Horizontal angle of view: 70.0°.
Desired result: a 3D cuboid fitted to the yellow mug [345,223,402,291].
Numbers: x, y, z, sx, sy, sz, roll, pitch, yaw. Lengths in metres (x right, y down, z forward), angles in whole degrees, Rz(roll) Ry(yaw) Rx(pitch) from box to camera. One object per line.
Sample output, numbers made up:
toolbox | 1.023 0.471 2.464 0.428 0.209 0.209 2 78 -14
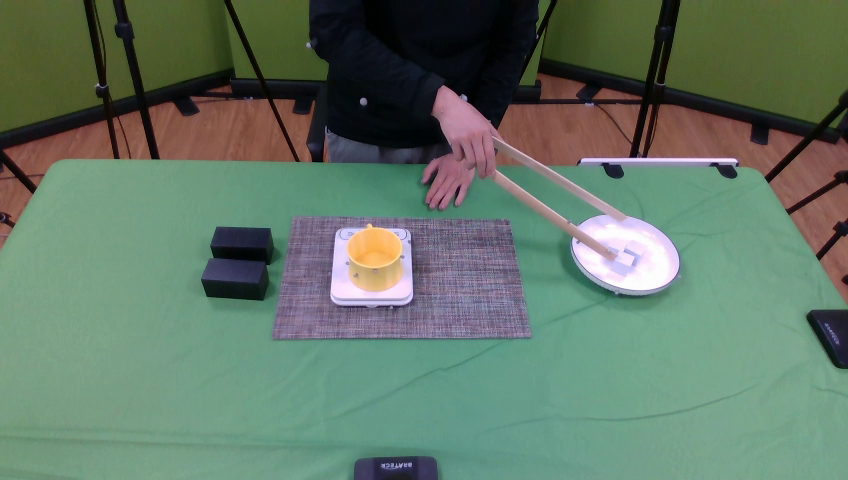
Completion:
yellow mug | -0.092 0.022 1.093 0.100 0.064 0.130 -8 46 -10

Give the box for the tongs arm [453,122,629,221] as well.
tongs arm | 0.230 -0.128 1.164 0.388 0.028 0.028 28 62 -11

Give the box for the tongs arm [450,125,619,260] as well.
tongs arm | 0.208 -0.086 1.132 0.385 0.026 0.050 33 58 -7

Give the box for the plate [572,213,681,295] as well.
plate | 0.393 0.030 1.189 0.208 0.039 0.206 2 46 -2

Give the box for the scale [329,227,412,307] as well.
scale | -0.099 0.042 1.139 0.149 0.032 0.199 1 46 -4
